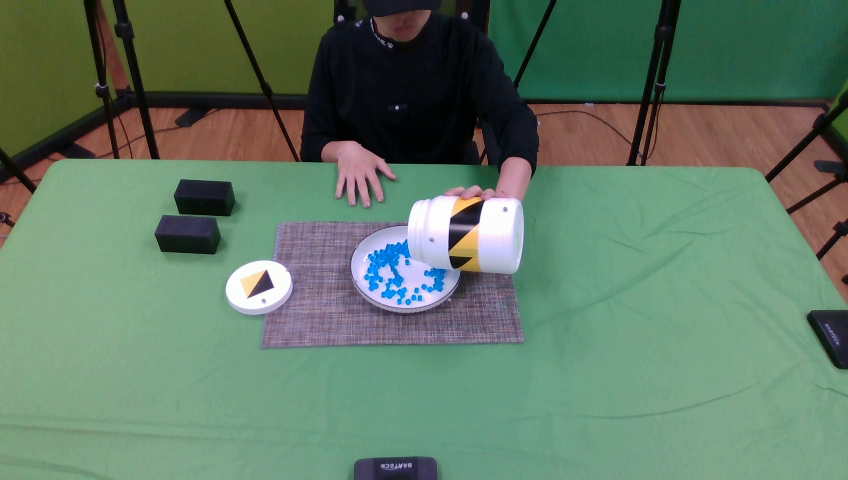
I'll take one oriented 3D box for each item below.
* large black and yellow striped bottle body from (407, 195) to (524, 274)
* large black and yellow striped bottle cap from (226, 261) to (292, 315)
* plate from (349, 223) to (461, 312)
[{"bbox_3d":[0.073,-0.011,1.048,0.183,0.131,0.130,4,44,17],"label":"large black and yellow striped bottle body"},{"bbox_3d":[-0.298,0.085,1.092,0.115,0.019,0.114,0,45,1],"label":"large black and yellow striped bottle cap"},{"bbox_3d":[-0.035,0.054,1.126,0.208,0.039,0.206,2,46,-2],"label":"plate"}]
